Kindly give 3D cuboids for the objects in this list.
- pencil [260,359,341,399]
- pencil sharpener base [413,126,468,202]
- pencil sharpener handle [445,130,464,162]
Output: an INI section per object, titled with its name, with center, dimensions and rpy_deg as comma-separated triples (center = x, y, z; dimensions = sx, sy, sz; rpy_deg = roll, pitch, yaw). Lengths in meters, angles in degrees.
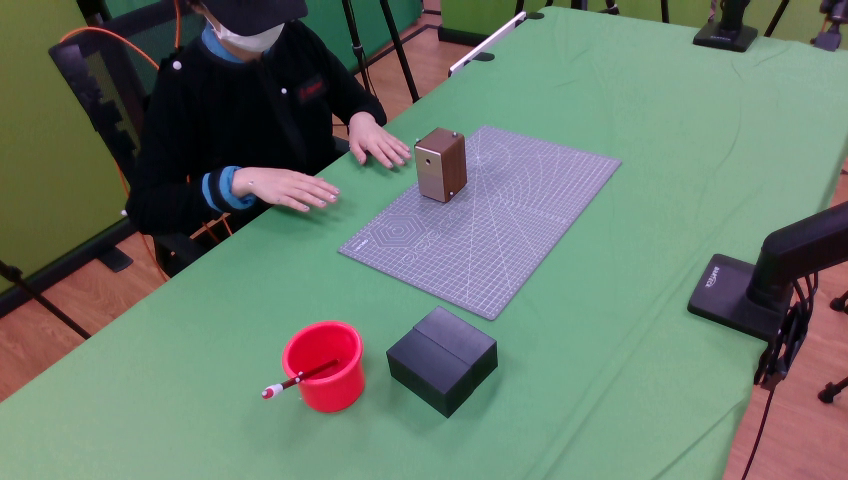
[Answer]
[pencil]
center = -0.137, 0.157, 0.706
dimensions = 0.012, 0.012, 0.195
rpy_deg = 6, 1, 16
[pencil sharpener base]
center = 0.032, -0.132, 1.047
dimensions = 0.061, 0.107, 0.077
rpy_deg = 22, 48, 30
[pencil sharpener handle]
center = 0.059, -0.171, 1.070
dimensions = 0.036, 0.068, 0.031
rpy_deg = 26, 50, 25
